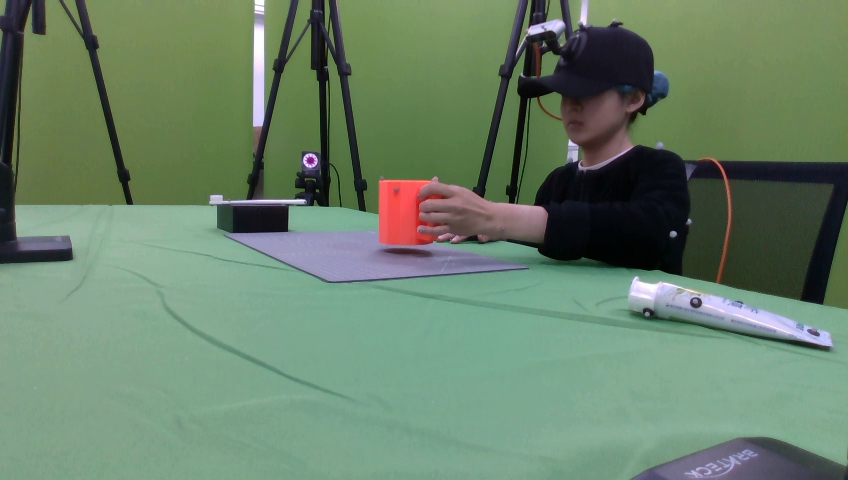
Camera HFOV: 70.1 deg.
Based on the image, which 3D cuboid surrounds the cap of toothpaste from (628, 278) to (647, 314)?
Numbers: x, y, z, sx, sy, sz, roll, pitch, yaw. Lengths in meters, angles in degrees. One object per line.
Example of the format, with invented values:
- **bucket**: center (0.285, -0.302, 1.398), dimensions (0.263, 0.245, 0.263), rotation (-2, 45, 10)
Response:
- **cap of toothpaste**: center (0.209, 0.055, 0.589), dimensions (0.011, 0.037, 0.037), rotation (11, 11, 28)

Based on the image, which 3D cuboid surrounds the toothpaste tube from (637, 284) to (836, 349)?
- **toothpaste tube**: center (0.275, 0.070, 0.550), dimensions (0.164, 0.034, 0.055), rotation (11, 15, 28)

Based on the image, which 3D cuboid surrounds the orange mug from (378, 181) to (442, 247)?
- **orange mug**: center (-0.017, -0.041, 0.910), dimensions (0.084, 0.100, 0.125), rotation (-4, 4, -37)

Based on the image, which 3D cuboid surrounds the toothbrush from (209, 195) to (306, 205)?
- **toothbrush**: center (-0.303, -0.073, 1.117), dimensions (0.183, 0.016, 0.014), rotation (-2, 5, -36)
